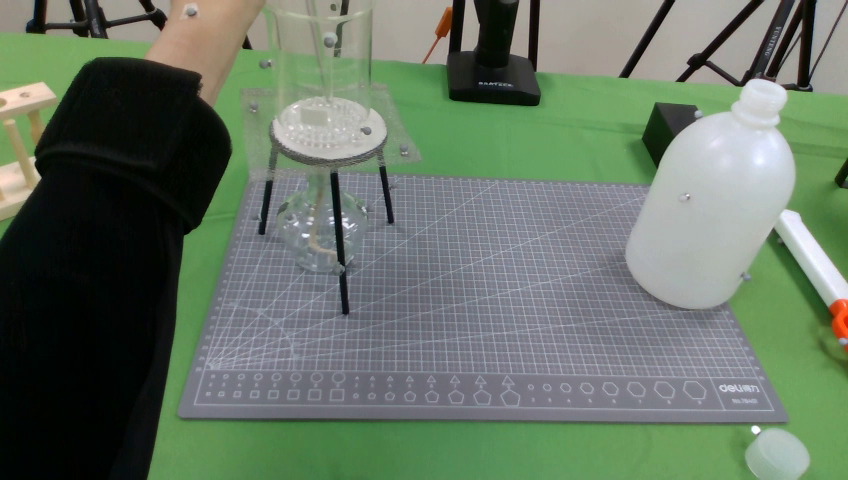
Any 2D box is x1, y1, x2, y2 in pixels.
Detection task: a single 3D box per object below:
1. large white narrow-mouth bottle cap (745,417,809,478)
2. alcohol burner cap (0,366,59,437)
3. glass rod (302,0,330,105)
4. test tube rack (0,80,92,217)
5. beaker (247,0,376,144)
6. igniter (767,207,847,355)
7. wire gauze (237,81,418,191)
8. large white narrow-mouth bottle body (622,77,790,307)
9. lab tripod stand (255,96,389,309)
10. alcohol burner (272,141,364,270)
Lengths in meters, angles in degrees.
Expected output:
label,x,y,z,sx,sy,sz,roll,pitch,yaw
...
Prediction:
label,x,y,z,sx,sy,sz,roll,pitch,yaw
large white narrow-mouth bottle cap,0.252,0.148,0.432,0.038,0.024,0.037,3,42,-3
alcohol burner cap,-0.264,0.103,0.396,0.034,0.048,0.033,5,41,-4
glass rod,-0.081,-0.179,0.394,0.008,0.201,0.008,-3,41,3
test tube rack,-0.430,-0.052,0.512,0.242,0.086,0.066,-29,53,-33
beaker,-0.077,-0.126,0.430,0.084,0.101,0.073,-2,44,-10
igniter,0.373,0.064,0.537,0.057,0.025,0.273,11,41,-11
wire gauze,-0.077,-0.087,0.461,0.122,0.011,0.123,-9,48,-14
large white narrow-mouth bottle body,0.239,-0.041,0.504,0.102,0.196,0.101,3,42,-3
lab tripod stand,-0.079,-0.037,0.504,0.148,0.132,0.147,5,43,-4
alcohol burner,-0.089,-0.032,0.512,0.078,0.120,0.077,5,41,-4
